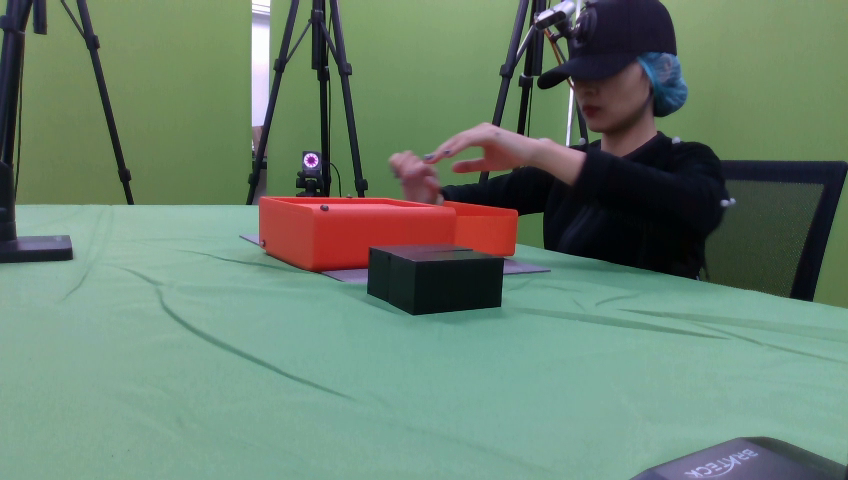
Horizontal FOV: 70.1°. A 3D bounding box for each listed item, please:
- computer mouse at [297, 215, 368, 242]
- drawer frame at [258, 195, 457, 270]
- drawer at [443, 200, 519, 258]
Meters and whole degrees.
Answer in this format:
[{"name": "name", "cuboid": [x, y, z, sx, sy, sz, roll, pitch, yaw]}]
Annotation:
[{"name": "computer mouse", "cuboid": [-0.156, -0.021, 1.032, 0.118, 0.041, 0.062, -9, 15, -39]}, {"name": "drawer frame", "cuboid": [-0.095, -0.018, 0.845, 0.215, 0.082, 0.200, -3, 10, -34]}, {"name": "drawer", "cuboid": [0.001, -0.019, 0.909, 0.213, 0.073, 0.193, -3, 10, -33]}]
